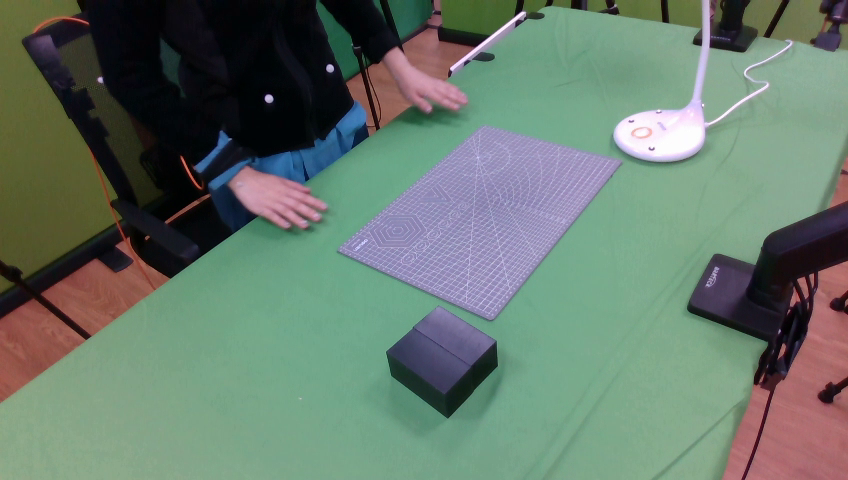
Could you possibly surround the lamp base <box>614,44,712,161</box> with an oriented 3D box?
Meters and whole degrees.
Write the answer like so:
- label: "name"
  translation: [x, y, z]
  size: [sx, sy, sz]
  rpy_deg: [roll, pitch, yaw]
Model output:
- label: "lamp base"
  translation: [0.441, -0.257, 1.081]
  size: [0.180, 0.181, 0.159]
  rpy_deg: [-15, 41, -12]
